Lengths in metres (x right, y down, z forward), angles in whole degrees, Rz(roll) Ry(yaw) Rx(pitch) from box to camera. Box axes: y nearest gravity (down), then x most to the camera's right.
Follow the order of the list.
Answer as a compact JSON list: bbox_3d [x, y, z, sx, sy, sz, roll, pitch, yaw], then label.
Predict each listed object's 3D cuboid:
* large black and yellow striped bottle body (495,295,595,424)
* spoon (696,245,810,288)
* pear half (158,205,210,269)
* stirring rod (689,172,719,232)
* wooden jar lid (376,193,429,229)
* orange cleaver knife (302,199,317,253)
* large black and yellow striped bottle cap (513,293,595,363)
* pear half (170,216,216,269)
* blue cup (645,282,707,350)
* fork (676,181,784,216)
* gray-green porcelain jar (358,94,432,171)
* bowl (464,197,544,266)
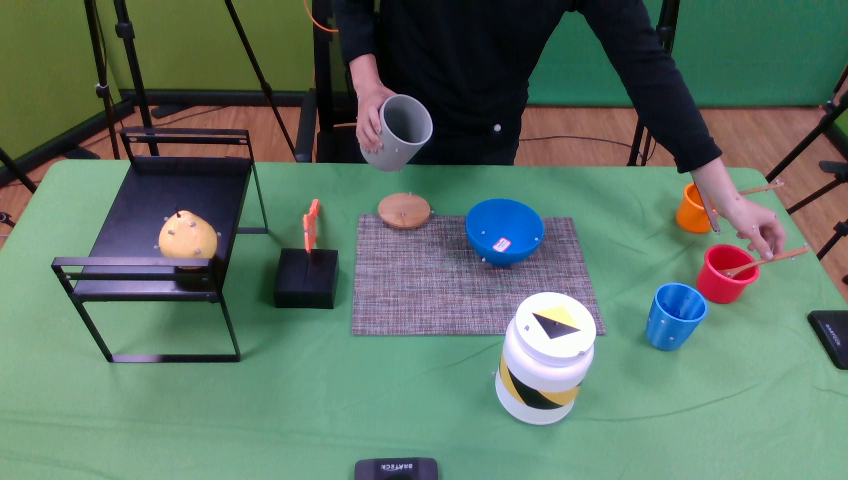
[{"bbox_3d":[0.183,0.182,0.923,0.131,0.185,0.130,2,46,-2],"label":"large black and yellow striped bottle body"},{"bbox_3d":[0.601,0.047,1.114,0.193,0.022,0.041,-27,36,33],"label":"spoon"},{"bbox_3d":[-0.352,-0.015,0.872,0.056,0.110,0.076,26,46,19],"label":"pear half"},{"bbox_3d":[0.566,-0.080,1.225,0.014,0.006,0.175,3,46,1],"label":"stirring rod"},{"bbox_3d":[-0.044,-0.058,1.246,0.108,0.021,0.107,3,40,-2],"label":"wooden jar lid"},{"bbox_3d":[-0.219,-0.031,1.168,0.012,0.077,0.210,-4,17,-3],"label":"orange cleaver knife"},{"bbox_3d":[0.186,0.123,0.863,0.115,0.019,0.114,3,45,-3],"label":"large black and yellow striped bottle cap"},{"bbox_3d":[-0.323,0.007,0.866,0.031,0.088,0.070,25,46,20],"label":"pear half"},{"bbox_3d":[0.425,0.136,1.042,0.093,0.101,0.092,1,44,-1],"label":"blue cup"},{"bbox_3d":[0.618,-0.084,1.235,0.019,0.207,0.028,55,40,-15],"label":"fork"},{"bbox_3d":[-0.060,-0.197,1.147,0.106,0.126,0.105,12,64,-25],"label":"gray-green porcelain jar"},{"bbox_3d":[0.149,-0.004,1.167,0.151,0.077,0.150,2,46,-2],"label":"bowl"}]
